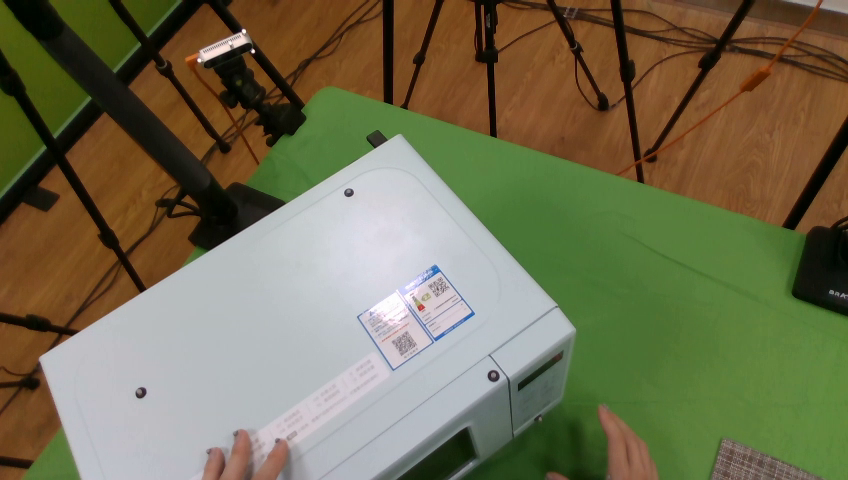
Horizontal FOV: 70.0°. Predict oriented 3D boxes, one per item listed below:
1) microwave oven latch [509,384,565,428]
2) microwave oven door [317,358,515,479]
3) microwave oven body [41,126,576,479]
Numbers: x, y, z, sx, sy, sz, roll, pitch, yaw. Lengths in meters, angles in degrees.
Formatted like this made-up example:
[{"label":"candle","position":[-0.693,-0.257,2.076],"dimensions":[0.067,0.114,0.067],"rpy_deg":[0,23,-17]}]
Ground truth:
[{"label":"microwave oven latch","position":[0.132,0.191,0.729],"dimensions":[0.079,0.030,0.030],"rpy_deg":[-33,62,-9]},{"label":"microwave oven door","position":[-0.063,0.261,0.602],"dimensions":[0.356,0.246,0.039],"rpy_deg":[-34,60,-10]},{"label":"microwave oven body","position":[-0.110,0.141,0.682],"dimensions":[0.442,0.262,0.323],"rpy_deg":[-34,62,-10]}]
